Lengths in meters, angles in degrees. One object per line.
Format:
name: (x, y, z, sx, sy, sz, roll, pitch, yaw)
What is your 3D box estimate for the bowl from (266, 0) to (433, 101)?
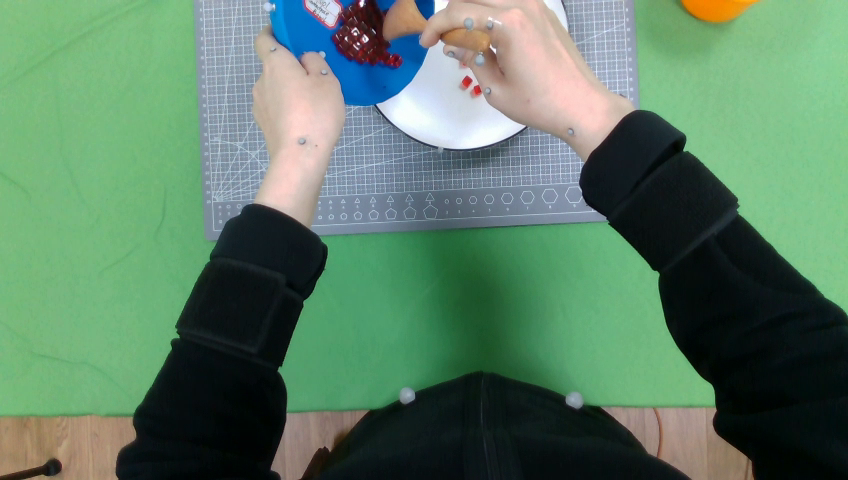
bowl: (-0.074, -0.198, 0.509, 0.076, 0.153, 0.151, 25, 91, 44)

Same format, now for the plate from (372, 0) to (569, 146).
plate: (0.036, -0.196, 0.600, 0.209, 0.038, 0.209, 0, 90, 3)

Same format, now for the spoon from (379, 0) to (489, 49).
spoon: (0.004, -0.158, 0.441, 0.022, 0.191, 0.041, 24, 102, -34)
